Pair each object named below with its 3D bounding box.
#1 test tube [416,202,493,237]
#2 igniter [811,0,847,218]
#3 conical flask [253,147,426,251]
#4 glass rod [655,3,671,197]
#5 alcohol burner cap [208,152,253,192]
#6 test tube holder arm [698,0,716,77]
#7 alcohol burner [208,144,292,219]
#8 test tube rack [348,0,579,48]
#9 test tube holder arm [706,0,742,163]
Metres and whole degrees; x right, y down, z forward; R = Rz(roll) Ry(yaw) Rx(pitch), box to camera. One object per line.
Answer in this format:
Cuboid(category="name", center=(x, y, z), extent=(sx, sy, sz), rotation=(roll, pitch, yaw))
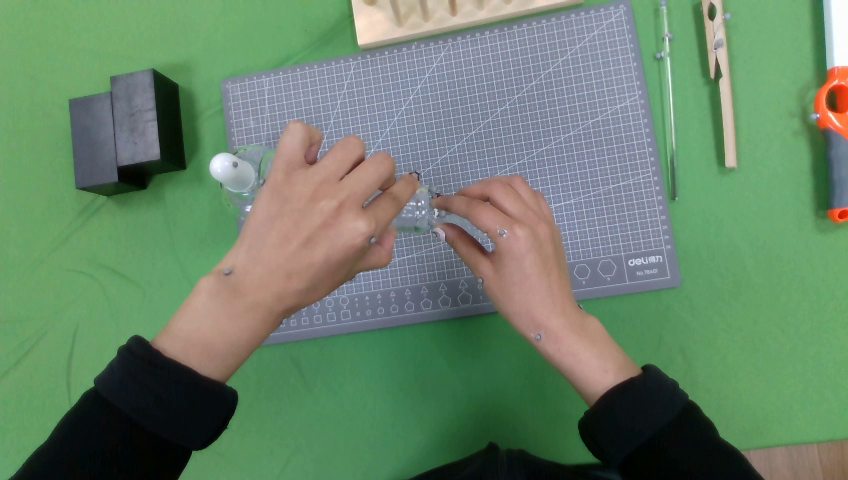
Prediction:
Cuboid(category="test tube", center=(0.032, -0.016, 0.539), extent=(0.017, 0.151, 0.017), rotation=(-2, 84, 25))
Cuboid(category="igniter", center=(0.401, -0.159, 0.584), extent=(0.057, 0.025, 0.276), rotation=(0, 86, -2))
Cuboid(category="conical flask", center=(-0.060, -0.027, 0.448), extent=(0.122, 0.075, 0.075), rotation=(3, 86, -8))
Cuboid(category="glass rod", center=(0.243, -0.142, 0.613), extent=(0.008, 0.008, 0.199), rotation=(-2, 88, 7))
Cuboid(category="alcohol burner cap", center=(-0.186, -0.067, 0.575), extent=(0.034, 0.048, 0.033), rotation=(-1, 80, 5))
Cuboid(category="test tube holder arm", center=(0.287, -0.208, 0.609), extent=(0.010, 0.015, 0.087), rotation=(-11, 84, 45))
Cuboid(category="alcohol burner", center=(-0.180, -0.062, 0.610), extent=(0.078, 0.119, 0.077), rotation=(-1, 85, 10))
Cuboid(category="test tube rack", center=(0.034, -0.266, 0.613), extent=(0.242, 0.085, 0.066), rotation=(-10, 84, 7))
Cuboid(category="test tube holder arm", center=(0.296, -0.164, 0.601), extent=(0.013, 0.015, 0.178), rotation=(-13, 82, 44))
